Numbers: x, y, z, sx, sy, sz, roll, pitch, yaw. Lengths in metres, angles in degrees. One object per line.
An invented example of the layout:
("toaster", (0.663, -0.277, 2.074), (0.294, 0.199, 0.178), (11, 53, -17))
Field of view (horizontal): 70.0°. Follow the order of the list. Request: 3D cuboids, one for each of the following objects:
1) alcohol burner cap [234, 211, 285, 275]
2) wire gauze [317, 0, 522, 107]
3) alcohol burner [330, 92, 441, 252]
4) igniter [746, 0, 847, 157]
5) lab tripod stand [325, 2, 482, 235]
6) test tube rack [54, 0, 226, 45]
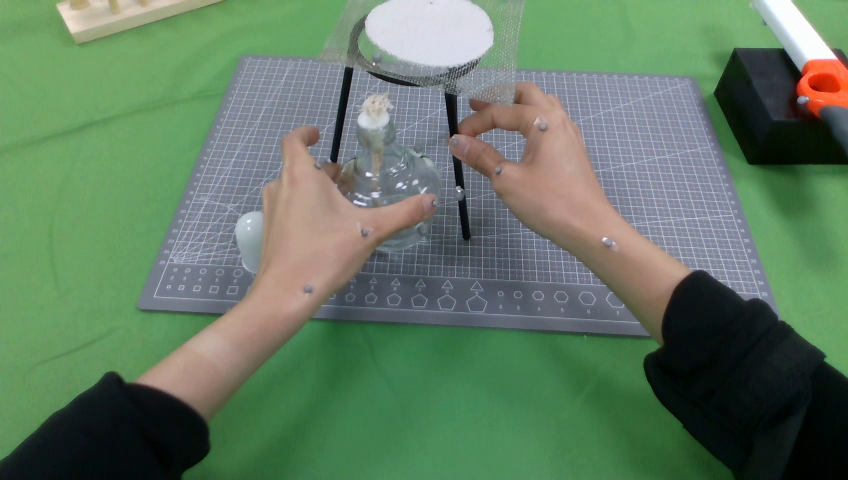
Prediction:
("alcohol burner cap", (-0.120, -0.001, 0.434), (0.034, 0.048, 0.033), (1, 50, -1))
("wire gauze", (0.003, -0.139, 0.403), (0.125, 0.011, 0.120), (10, 52, 4))
("alcohol burner", (-0.029, -0.048, 0.412), (0.078, 0.120, 0.077), (-4, 48, 5))
("igniter", (0.334, -0.140, 0.511), (0.057, 0.025, 0.274), (-1, 49, 2))
("lab tripod stand", (-0.004, -0.091, 0.451), (0.148, 0.132, 0.147), (2, 52, -2))
("test tube rack", (-0.270, -0.296, 0.641), (0.242, 0.086, 0.066), (-27, 58, -21))
